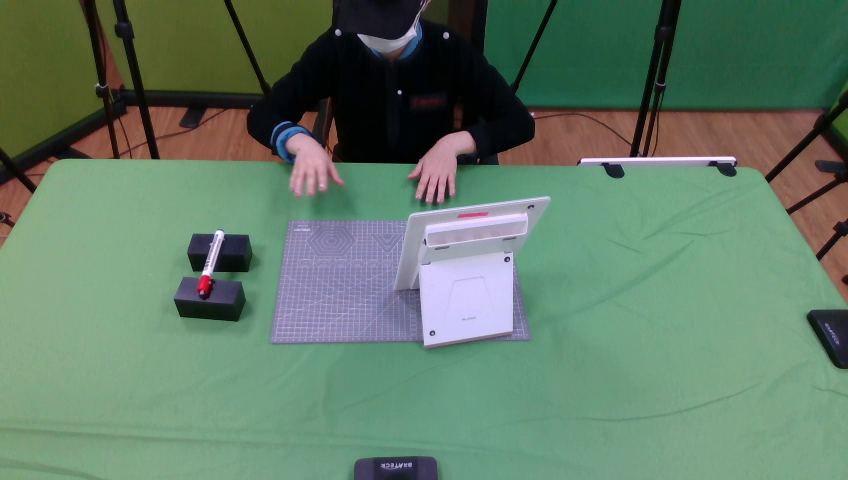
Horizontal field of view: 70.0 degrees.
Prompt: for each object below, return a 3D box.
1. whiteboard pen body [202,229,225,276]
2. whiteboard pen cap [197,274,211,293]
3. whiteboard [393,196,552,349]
[{"bbox_3d":[-0.374,0.032,1.071,0.017,0.017,0.139,2,45,-2],"label":"whiteboard pen body"},{"bbox_3d":[-0.373,0.074,1.031,0.017,0.017,0.032,2,44,-2],"label":"whiteboard pen cap"},{"bbox_3d":[0.077,0.071,0.977,0.217,0.306,0.143,-7,66,-11],"label":"whiteboard"}]
